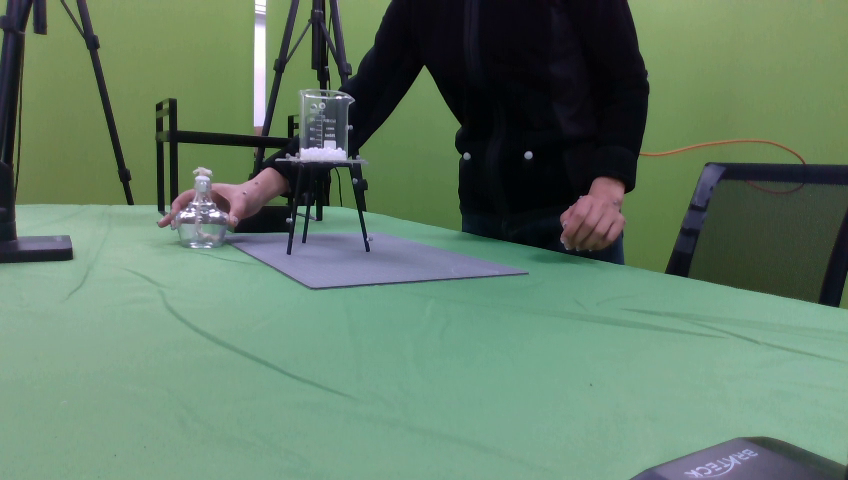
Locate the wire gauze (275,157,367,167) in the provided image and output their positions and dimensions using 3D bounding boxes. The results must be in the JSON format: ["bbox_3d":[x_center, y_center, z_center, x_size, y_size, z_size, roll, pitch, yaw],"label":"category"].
[{"bbox_3d":[-0.148,-0.117,0.895,0.121,0.011,0.125,3,5,-3],"label":"wire gauze"}]

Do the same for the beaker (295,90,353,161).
[{"bbox_3d":[-0.146,-0.164,0.884,0.084,0.100,0.074,1,7,-6],"label":"beaker"}]

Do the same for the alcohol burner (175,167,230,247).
[{"bbox_3d":[-0.330,-0.050,0.902,0.078,0.119,0.078,2,8,0],"label":"alcohol burner"}]

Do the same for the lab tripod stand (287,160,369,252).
[{"bbox_3d":[-0.157,-0.053,0.901,0.148,0.131,0.148,0,7,0],"label":"lab tripod stand"}]

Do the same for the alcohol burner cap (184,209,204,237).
[{"bbox_3d":[-0.390,-0.029,1.025,0.034,0.048,0.034,3,8,0],"label":"alcohol burner cap"}]
